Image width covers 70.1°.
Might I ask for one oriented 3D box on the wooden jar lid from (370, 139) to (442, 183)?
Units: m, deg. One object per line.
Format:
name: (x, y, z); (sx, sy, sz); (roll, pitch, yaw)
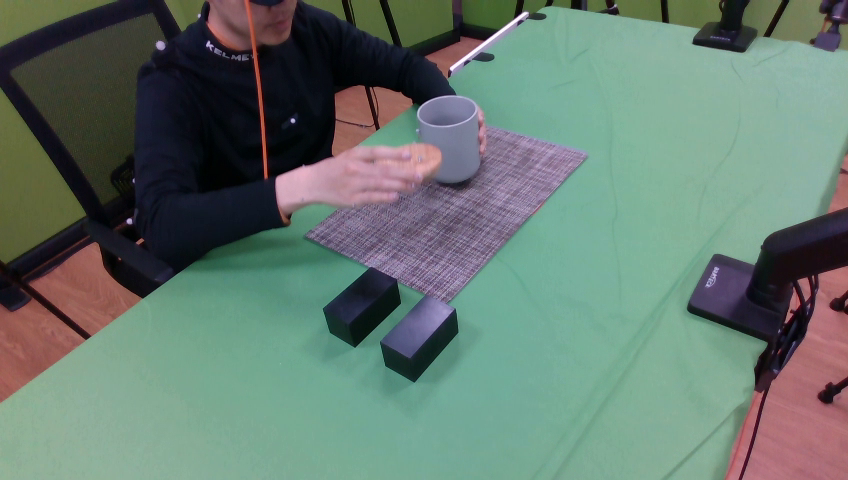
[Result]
wooden jar lid: (-0.025, -0.115, 0.888); (0.108, 0.021, 0.108); (-10, 33, 8)

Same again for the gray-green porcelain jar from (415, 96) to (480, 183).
gray-green porcelain jar: (0.044, -0.172, 1.063); (0.106, 0.127, 0.105); (-5, 42, 5)
